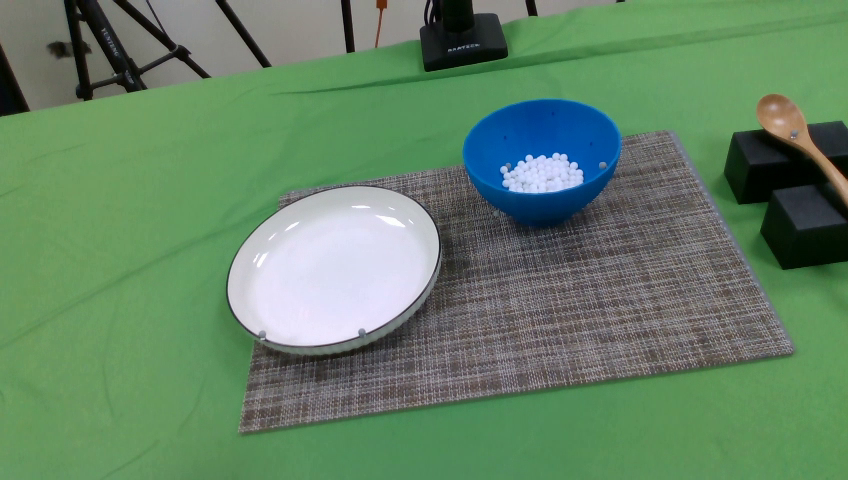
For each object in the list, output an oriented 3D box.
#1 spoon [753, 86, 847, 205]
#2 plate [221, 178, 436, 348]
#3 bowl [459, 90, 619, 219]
[{"bbox_3d":[0.343,-0.072,0.528,0.041,0.022,0.191,-11,47,3],"label":"spoon"},{"bbox_3d":[-0.089,0.022,0.588,0.207,0.039,0.205,-6,46,7],"label":"plate"},{"bbox_3d":[0.114,-0.074,0.605,0.151,0.077,0.150,-6,46,7],"label":"bowl"}]
